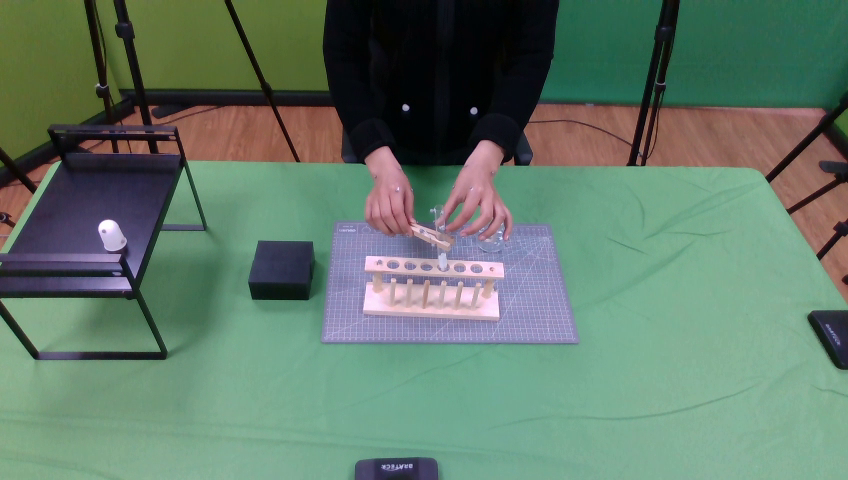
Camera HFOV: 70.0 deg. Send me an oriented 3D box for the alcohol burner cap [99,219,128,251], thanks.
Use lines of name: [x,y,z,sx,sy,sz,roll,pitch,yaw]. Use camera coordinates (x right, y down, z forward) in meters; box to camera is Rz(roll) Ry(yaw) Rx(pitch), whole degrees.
alcohol burner cap: [-0.467,-0.010,0.907,0.034,0.048,0.033,2,47,-2]

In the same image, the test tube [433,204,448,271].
test tube: [0.028,0.000,1.004,0.017,0.151,0.017,-3,46,3]

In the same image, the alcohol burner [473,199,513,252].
alcohol burner: [0.135,-0.034,1.174,0.078,0.120,0.077,1,47,-1]

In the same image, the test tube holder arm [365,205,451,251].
test tube holder arm: [-0.030,-0.022,1.030,0.177,0.015,0.013,24,50,25]

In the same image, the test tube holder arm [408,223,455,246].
test tube holder arm: [0.011,-0.010,1.016,0.087,0.015,0.010,19,49,21]

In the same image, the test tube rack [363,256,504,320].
test tube rack: [0.015,0.085,1.069,0.242,0.085,0.066,3,45,-2]
